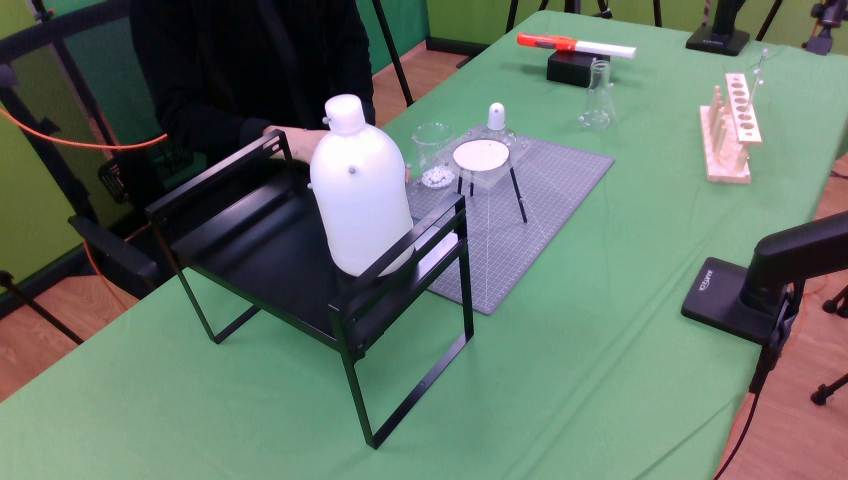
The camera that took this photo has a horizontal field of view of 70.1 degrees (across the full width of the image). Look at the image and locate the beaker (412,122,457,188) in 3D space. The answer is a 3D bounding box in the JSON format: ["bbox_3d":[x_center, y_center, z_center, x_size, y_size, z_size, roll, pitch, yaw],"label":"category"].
[{"bbox_3d":[0.022,-0.152,1.088,0.073,0.100,0.084,13,44,21],"label":"beaker"}]

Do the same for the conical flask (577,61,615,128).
[{"bbox_3d":[0.343,-0.288,1.188,0.075,0.122,0.075,-4,41,4],"label":"conical flask"}]

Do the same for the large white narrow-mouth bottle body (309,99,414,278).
[{"bbox_3d":[-0.068,-0.057,0.644,0.102,0.195,0.101,-4,42,4],"label":"large white narrow-mouth bottle body"}]

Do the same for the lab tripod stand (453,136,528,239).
[{"bbox_3d":[0.094,-0.086,0.974,0.148,0.132,0.147,-4,43,4],"label":"lab tripod stand"}]

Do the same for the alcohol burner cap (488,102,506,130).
[{"bbox_3d":[0.133,-0.227,1.092,0.034,0.048,0.033,-1,47,2],"label":"alcohol burner cap"}]

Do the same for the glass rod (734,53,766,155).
[{"bbox_3d":[0.540,-0.220,1.007,0.008,0.201,0.008,-5,45,6],"label":"glass rod"}]

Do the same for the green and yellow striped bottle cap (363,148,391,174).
[{"bbox_3d":[-0.077,-0.129,0.979,0.045,0.020,0.045,-6,47,7],"label":"green and yellow striped bottle cap"}]

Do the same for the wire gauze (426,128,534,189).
[{"bbox_3d":[0.086,-0.131,0.924,0.124,0.011,0.122,26,52,33],"label":"wire gauze"}]

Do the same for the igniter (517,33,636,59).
[{"bbox_3d":[0.336,-0.441,1.369,0.275,0.025,0.057,16,41,23],"label":"igniter"}]

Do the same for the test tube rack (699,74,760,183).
[{"bbox_3d":[0.547,-0.208,1.095,0.066,0.085,0.242,6,42,15],"label":"test tube rack"}]

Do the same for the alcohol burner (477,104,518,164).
[{"bbox_3d":[0.135,-0.200,1.117,0.078,0.119,0.077,-4,43,4],"label":"alcohol burner"}]

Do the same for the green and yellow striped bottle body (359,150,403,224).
[{"bbox_3d":[-0.072,-0.090,1.012,0.063,0.120,0.063,-4,40,4],"label":"green and yellow striped bottle body"}]

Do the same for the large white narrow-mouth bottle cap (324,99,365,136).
[{"bbox_3d":[-0.076,-0.119,0.585,0.038,0.024,0.037,-3,42,4],"label":"large white narrow-mouth bottle cap"}]
